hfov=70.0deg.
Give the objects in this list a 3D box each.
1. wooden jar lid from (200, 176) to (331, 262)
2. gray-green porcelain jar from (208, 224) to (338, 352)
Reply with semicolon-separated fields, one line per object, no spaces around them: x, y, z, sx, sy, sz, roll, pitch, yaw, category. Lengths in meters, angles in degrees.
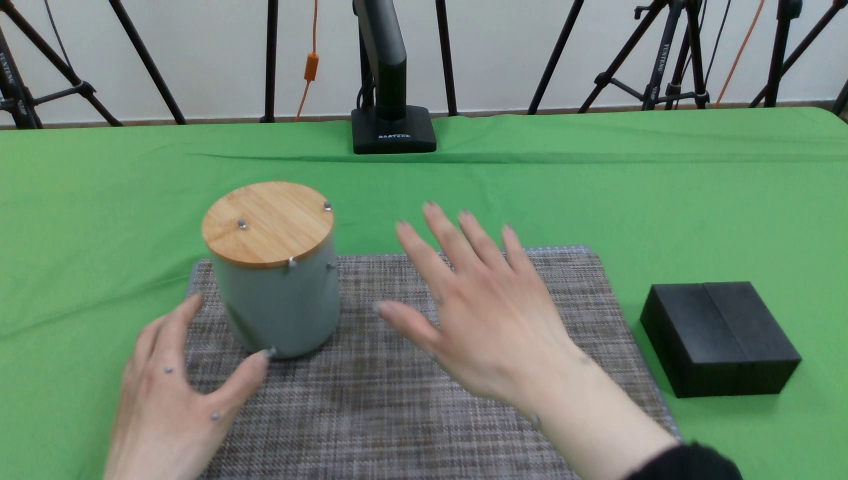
-0.133;-0.016;0.518;0.108;0.021;0.107;3;43;-3;wooden jar lid
-0.135;0.032;0.559;0.106;0.127;0.105;2;40;-1;gray-green porcelain jar
